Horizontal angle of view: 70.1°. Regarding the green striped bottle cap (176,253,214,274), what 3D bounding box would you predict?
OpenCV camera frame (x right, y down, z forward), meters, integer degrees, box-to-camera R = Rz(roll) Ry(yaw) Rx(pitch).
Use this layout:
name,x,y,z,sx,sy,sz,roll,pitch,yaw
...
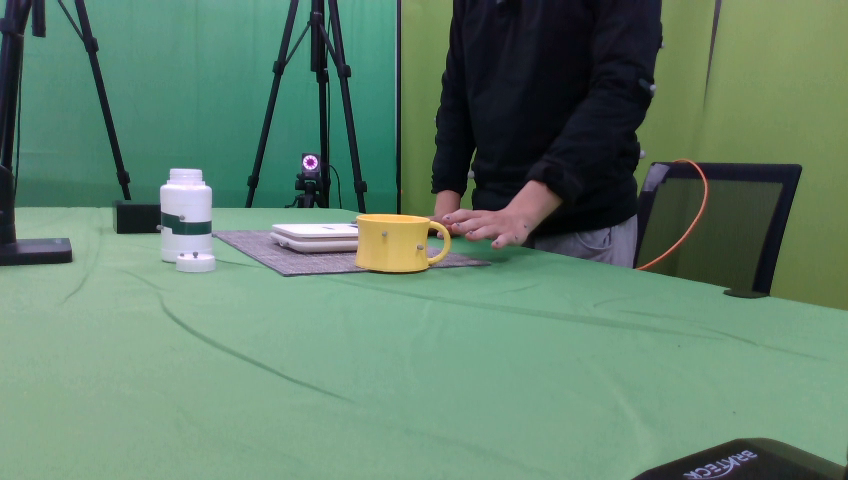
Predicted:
name,x,y,z,sx,sy,sz,roll,pitch,yaw
green striped bottle cap,-0.280,0.029,0.740,0.044,0.020,0.044,7,4,0

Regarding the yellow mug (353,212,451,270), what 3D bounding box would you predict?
name,x,y,z,sx,sy,sz,roll,pitch,yaw
yellow mug,-0.027,0.000,0.807,0.131,0.064,0.099,2,8,-13

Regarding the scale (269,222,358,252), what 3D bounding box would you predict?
name,x,y,z,sx,sy,sz,roll,pitch,yaw
scale,-0.132,-0.007,0.965,0.202,0.031,0.148,-1,8,-31

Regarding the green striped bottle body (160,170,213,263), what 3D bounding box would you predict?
name,x,y,z,sx,sy,sz,roll,pitch,yaw
green striped bottle body,-0.312,-0.033,0.797,0.063,0.119,0.063,2,7,0
